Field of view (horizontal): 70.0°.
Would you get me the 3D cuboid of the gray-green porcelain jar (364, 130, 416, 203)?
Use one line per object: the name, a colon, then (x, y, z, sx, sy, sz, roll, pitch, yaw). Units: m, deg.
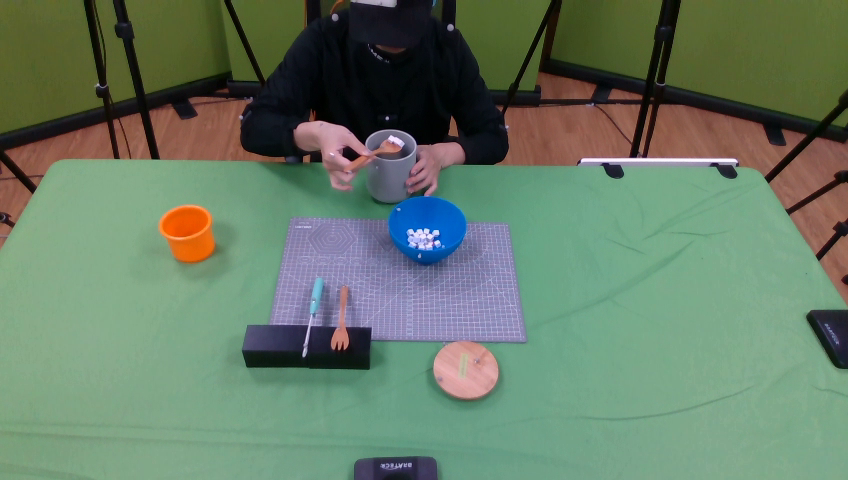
gray-green porcelain jar: (-0.072, -0.148, 1.264, 0.106, 0.127, 0.105, 3, 46, -3)

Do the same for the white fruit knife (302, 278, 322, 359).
white fruit knife: (-0.189, 0.126, 1.020, 0.016, 0.027, 0.206, 0, 33, -2)

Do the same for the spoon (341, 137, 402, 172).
spoon: (-0.101, -0.164, 1.159, 0.041, 0.022, 0.193, 29, 32, 16)

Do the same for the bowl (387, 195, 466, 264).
bowl: (0.003, -0.007, 1.162, 0.151, 0.077, 0.150, 2, 46, -2)

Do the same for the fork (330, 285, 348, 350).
fork: (-0.140, 0.127, 1.021, 0.028, 0.019, 0.206, -5, 28, -2)

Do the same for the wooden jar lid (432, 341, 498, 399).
wooden jar lid: (0.067, 0.216, 0.997, 0.108, 0.021, 0.107, 1, 46, -1)
